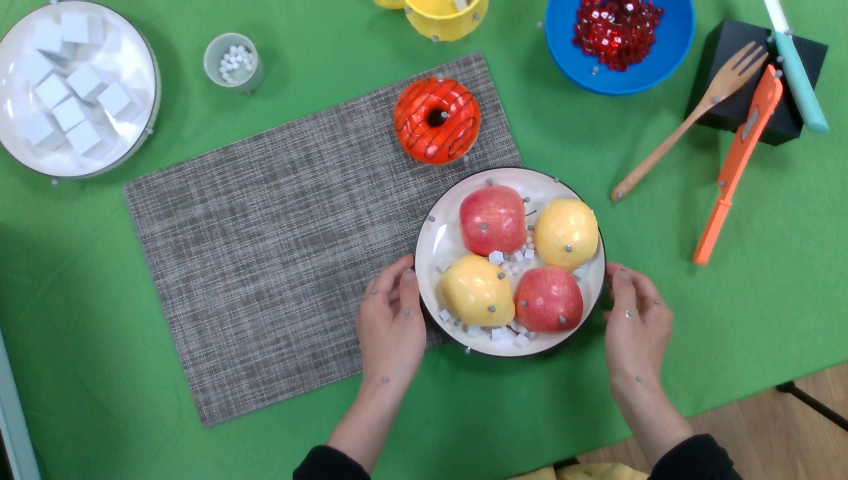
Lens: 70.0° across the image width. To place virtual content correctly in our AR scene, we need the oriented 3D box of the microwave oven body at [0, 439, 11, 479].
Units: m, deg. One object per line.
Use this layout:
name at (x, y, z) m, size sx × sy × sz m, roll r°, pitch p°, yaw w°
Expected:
microwave oven body at (-0.638, 0.210, 0.601) m, size 0.326 × 0.260 × 0.441 m, roll -17°, pitch 88°, yaw 3°

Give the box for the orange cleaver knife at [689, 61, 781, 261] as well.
orange cleaver knife at (0.323, -0.079, 0.637) m, size 0.012 × 0.077 × 0.212 m, roll 17°, pitch 116°, yaw 9°

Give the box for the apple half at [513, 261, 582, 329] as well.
apple half at (0.126, 0.060, 0.648) m, size 0.081 × 0.033 × 0.081 m, roll 1°, pitch 93°, yaw 28°

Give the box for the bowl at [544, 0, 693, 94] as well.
bowl at (0.199, -0.224, 0.650) m, size 0.151 × 0.077 × 0.151 m, roll 0°, pitch 90°, yaw 4°

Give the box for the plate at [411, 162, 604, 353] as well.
plate at (0.091, 0.019, 0.669) m, size 0.209 × 0.038 × 0.209 m, roll 0°, pitch 89°, yaw 3°

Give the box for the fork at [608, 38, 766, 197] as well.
fork at (0.270, -0.122, 0.639) m, size 0.028 × 0.018 × 0.208 m, roll 39°, pitch 112°, yaw -4°

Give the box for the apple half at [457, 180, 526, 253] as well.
apple half at (0.073, -0.025, 0.653) m, size 0.074 × 0.053 × 0.081 m, roll -2°, pitch 92°, yaw 5°

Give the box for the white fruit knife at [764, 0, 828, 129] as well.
white fruit knife at (0.368, -0.210, 0.620) m, size 0.027 × 0.016 × 0.207 m, roll -16°, pitch 86°, yaw -26°

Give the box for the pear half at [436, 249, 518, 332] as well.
pear half at (0.066, 0.062, 0.656) m, size 0.110 × 0.056 × 0.076 m, roll 43°, pitch 96°, yaw -1°

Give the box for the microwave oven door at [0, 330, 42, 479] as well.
microwave oven door at (-0.487, 0.208, 0.587) m, size 0.039 × 0.244 × 0.355 m, roll -17°, pitch 88°, yaw 3°

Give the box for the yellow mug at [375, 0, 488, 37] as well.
yellow mug at (0.006, -0.281, 0.669) m, size 0.131 × 0.064 × 0.100 m, roll -9°, pitch 88°, yaw 4°

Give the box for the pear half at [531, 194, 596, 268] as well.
pear half at (0.147, -0.006, 0.651) m, size 0.070 × 0.031 × 0.088 m, roll 13°, pitch 100°, yaw 27°

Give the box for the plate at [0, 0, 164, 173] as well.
plate at (-0.401, -0.179, 0.708) m, size 0.207 × 0.039 × 0.207 m, roll 0°, pitch 89°, yaw 4°

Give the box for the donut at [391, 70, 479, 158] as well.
donut at (0.012, -0.139, 0.673) m, size 0.099 × 0.048 × 0.099 m, roll 0°, pitch 90°, yaw 6°

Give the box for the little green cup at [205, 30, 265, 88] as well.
little green cup at (-0.215, -0.205, 0.696) m, size 0.061 × 0.038 × 0.061 m, roll 0°, pitch 89°, yaw 4°
